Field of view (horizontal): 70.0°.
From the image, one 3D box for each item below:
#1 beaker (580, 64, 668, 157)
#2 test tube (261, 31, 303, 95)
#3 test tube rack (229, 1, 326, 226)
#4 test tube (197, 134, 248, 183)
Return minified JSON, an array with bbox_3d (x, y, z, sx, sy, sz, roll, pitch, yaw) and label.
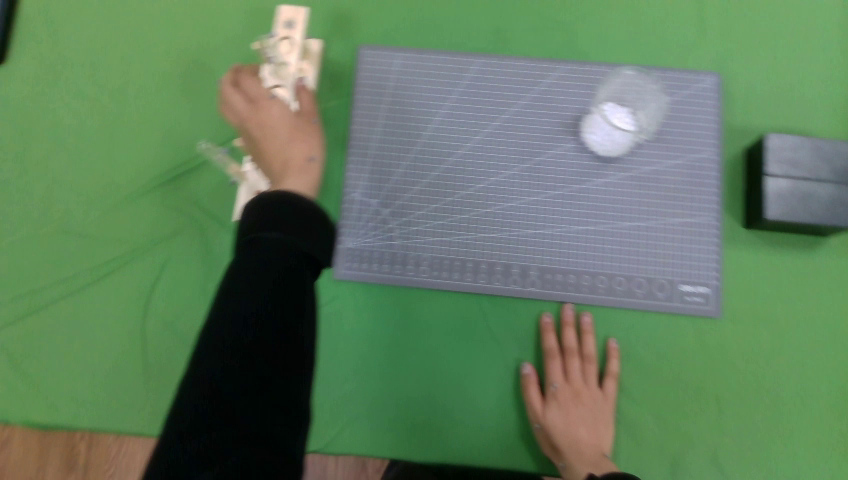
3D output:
[{"bbox_3d":[0.223,-0.138,0.686,0.074,0.100,0.083,-23,81,-3],"label":"beaker"},{"bbox_3d":[-0.152,-0.189,0.662,0.017,0.150,0.017,0,85,-1],"label":"test tube"},{"bbox_3d":[-0.175,-0.145,0.704,0.067,0.085,0.241,8,81,3],"label":"test tube rack"},{"bbox_3d":[-0.208,-0.083,0.649,0.017,0.151,0.017,0,81,1],"label":"test tube"}]
